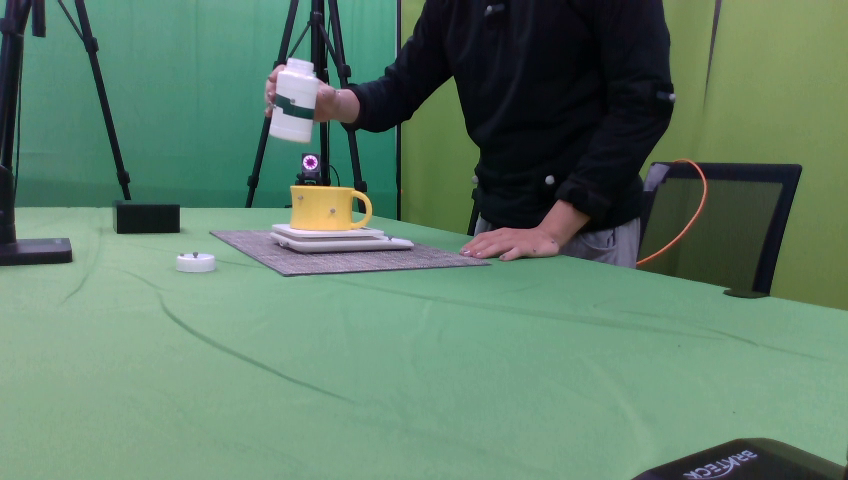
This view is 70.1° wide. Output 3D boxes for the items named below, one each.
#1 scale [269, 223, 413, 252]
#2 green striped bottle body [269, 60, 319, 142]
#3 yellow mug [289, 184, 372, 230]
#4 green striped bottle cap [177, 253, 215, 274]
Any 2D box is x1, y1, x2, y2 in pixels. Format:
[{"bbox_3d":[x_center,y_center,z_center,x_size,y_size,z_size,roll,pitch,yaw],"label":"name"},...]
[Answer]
[{"bbox_3d":[-0.132,-0.007,0.965,0.202,0.031,0.148,-2,8,-31],"label":"scale"},{"bbox_3d":[-0.200,-0.216,0.935,0.063,0.119,0.063,12,12,-2],"label":"green striped bottle body"},{"bbox_3d":[-0.145,-0.052,0.944,0.131,0.064,0.100,4,7,9],"label":"yellow mug"},{"bbox_3d":[-0.279,0.028,0.741,0.044,0.020,0.044,4,6,0],"label":"green striped bottle cap"}]
